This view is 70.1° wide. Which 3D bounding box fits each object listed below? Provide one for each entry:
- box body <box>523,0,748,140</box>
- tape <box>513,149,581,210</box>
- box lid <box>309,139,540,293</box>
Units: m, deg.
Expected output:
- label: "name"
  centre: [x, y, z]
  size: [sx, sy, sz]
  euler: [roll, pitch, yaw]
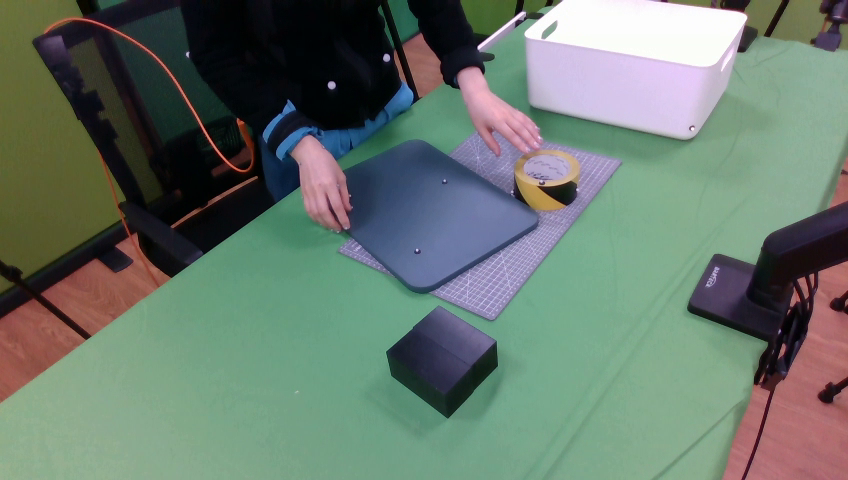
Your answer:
- label: "box body"
  centre: [0.412, -0.354, 1.212]
  size: [0.361, 0.161, 0.254]
  euler: [20, 48, 29]
- label: "tape"
  centre: [0.209, -0.104, 1.032]
  size: [0.117, 0.053, 0.116]
  euler: [-5, 39, 4]
- label: "box lid"
  centre: [-0.010, -0.060, 1.045]
  size: [0.264, 0.015, 0.368]
  euler: [-30, 45, -24]
